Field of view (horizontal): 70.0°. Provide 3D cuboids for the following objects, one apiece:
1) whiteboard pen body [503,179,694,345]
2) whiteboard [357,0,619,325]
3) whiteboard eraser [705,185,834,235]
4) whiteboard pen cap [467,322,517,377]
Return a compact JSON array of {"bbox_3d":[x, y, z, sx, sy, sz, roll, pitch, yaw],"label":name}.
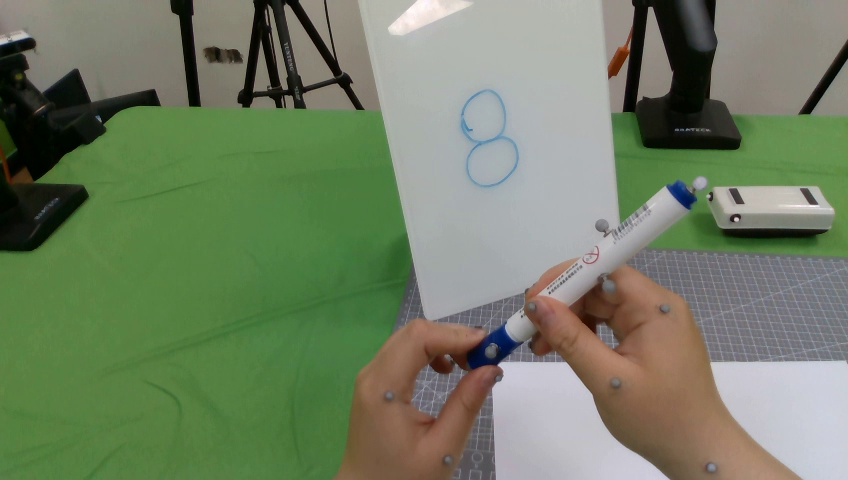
[{"bbox_3d":[0.077,0.021,0.306,0.017,0.141,0.017,31,30,-21],"label":"whiteboard pen body"},{"bbox_3d":[0.057,-0.107,0.607,0.217,0.307,0.142,-15,20,-12],"label":"whiteboard"},{"bbox_3d":[0.365,-0.032,0.645,0.112,0.042,0.055,1,41,6],"label":"whiteboard eraser"},{"bbox_3d":[0.039,0.059,0.335,0.018,0.033,0.018,28,28,-16],"label":"whiteboard pen cap"}]
